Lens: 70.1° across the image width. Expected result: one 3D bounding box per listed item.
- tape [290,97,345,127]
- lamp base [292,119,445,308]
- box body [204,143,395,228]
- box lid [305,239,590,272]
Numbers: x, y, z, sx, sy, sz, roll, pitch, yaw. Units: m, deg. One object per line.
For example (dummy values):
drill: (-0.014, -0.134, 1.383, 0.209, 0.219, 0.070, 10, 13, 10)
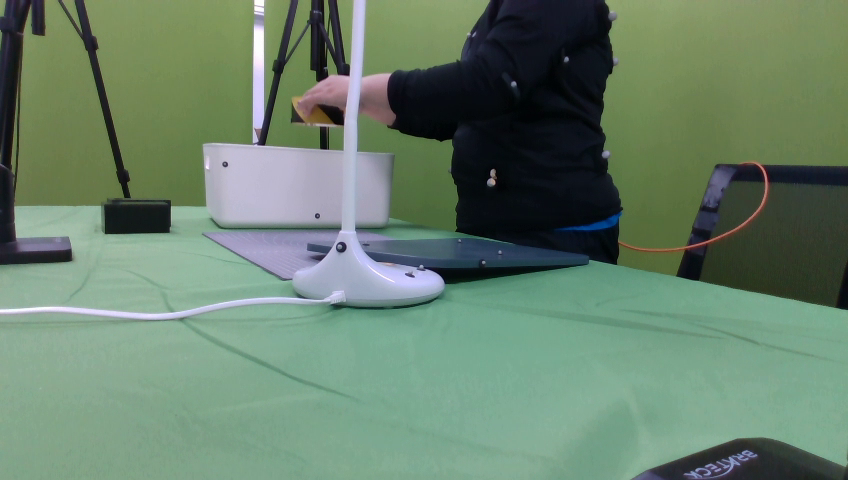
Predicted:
tape: (-0.219, -0.263, 1.248, 0.117, 0.052, 0.117, 3, 8, 0)
lamp base: (-0.056, -0.030, 0.616, 0.160, 0.180, 0.179, 4, 10, 8)
box body: (-0.271, -0.117, 1.291, 0.366, 0.160, 0.253, -1, 8, -25)
box lid: (0.042, 0.019, 0.879, 0.262, 0.015, 0.374, 7, 5, 44)
